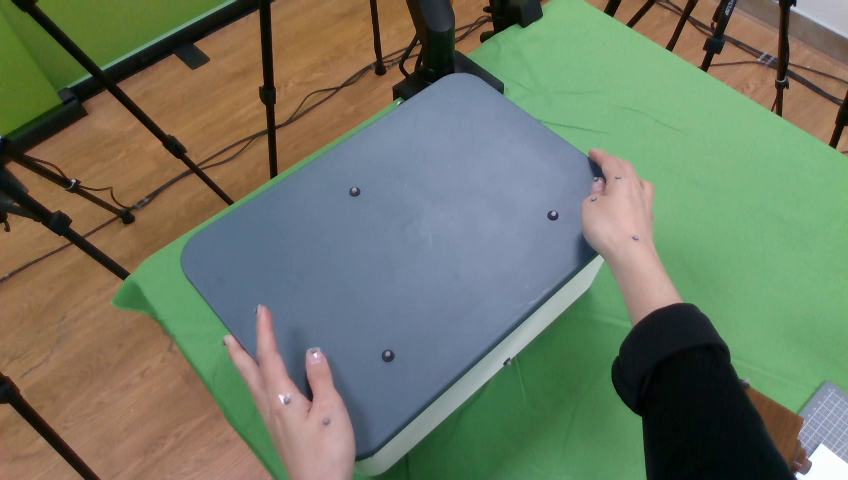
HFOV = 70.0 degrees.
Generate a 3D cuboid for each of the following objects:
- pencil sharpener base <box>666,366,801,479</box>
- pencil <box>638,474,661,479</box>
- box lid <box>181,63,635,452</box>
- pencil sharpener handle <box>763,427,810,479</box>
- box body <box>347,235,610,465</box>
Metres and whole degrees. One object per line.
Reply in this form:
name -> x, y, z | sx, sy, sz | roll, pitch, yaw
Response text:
pencil sharpener base -> 0.287, 0.177, 0.566 | 0.076, 0.108, 0.061 | 31, 63, 19
pencil -> 0.142, 0.259, 0.575 | 0.194, 0.012, 0.012 | -17, 59, -12
box lid -> -0.008, -0.016, 0.566 | 0.371, 0.015, 0.261 | -38, 66, -19
pencil sharpener handle -> 0.328, 0.196, 0.539 | 0.030, 0.068, 0.036 | 31, 57, 19
box body -> -0.007, 0.021, 0.636 | 0.364, 0.162, 0.252 | -38, 64, -20
